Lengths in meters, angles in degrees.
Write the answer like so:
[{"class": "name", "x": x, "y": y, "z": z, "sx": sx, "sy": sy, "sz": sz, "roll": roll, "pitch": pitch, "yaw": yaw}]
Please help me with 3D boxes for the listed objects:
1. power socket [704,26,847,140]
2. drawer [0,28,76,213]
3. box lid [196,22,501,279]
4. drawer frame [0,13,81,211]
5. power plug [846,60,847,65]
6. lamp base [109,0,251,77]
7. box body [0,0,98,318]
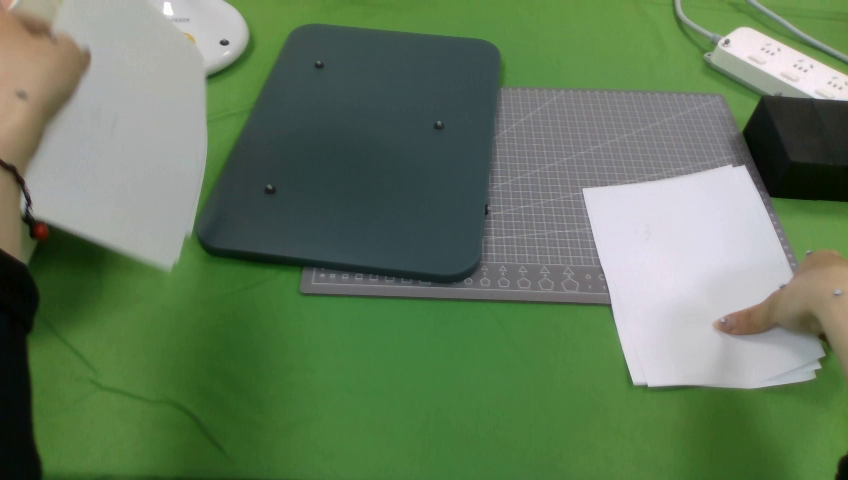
[{"class": "power socket", "x": 0.441, "y": -0.183, "z": 0.704, "sx": 0.072, "sy": 0.033, "sz": 0.224, "roll": -33, "pitch": 59, "yaw": -26}, {"class": "drawer", "x": -0.446, "y": -0.123, "z": 0.531, "sx": 0.195, "sy": 0.074, "sz": 0.209, "roll": 8, "pitch": 42, "yaw": -14}, {"class": "box lid", "x": -0.058, "y": -0.117, "z": 0.643, "sx": 0.263, "sy": 0.015, "sz": 0.368, "roll": 7, "pitch": 51, "yaw": 4}, {"class": "drawer frame", "x": -0.447, "y": -0.126, "z": 0.532, "sx": 0.202, "sy": 0.083, "sz": 0.211, "roll": 7, "pitch": 41, "yaw": -14}, {"class": "power plug", "x": 0.537, "y": -0.197, "z": 0.730, "sx": 0.053, "sy": 0.035, "sz": 0.072, "roll": -24, "pitch": 22, "yaw": -26}, {"class": "lamp base", "x": -0.294, "y": -0.304, "z": 0.673, "sx": 0.161, "sy": 0.182, "sz": 0.177, "roll": -18, "pitch": 52, "yaw": -16}, {"class": "box body", "x": -0.461, "y": -0.080, "z": 0.500, "sx": 0.254, "sy": 0.162, "sz": 0.360, "roll": -1, "pitch": 52, "yaw": -4}]
